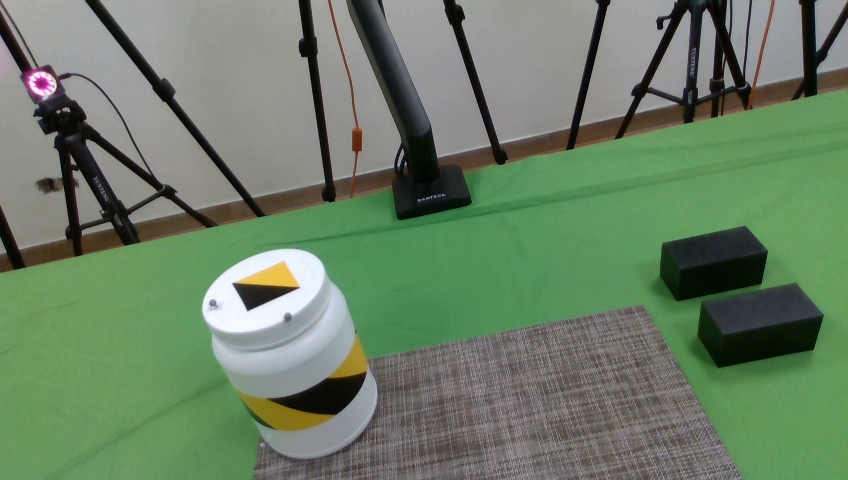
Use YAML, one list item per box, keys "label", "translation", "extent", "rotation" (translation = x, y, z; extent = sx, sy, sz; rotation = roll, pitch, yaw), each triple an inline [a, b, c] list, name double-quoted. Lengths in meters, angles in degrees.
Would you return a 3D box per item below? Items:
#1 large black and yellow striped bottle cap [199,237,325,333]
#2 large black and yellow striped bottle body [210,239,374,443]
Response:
- label: "large black and yellow striped bottle cap"
  translation: [-0.149, 0.039, 0.560]
  extent: [0.115, 0.019, 0.114]
  rotation: [-7, 37, 6]
- label: "large black and yellow striped bottle body"
  translation: [-0.132, 0.102, 0.612]
  extent: [0.130, 0.186, 0.129]
  rotation: [-8, 38, 7]
